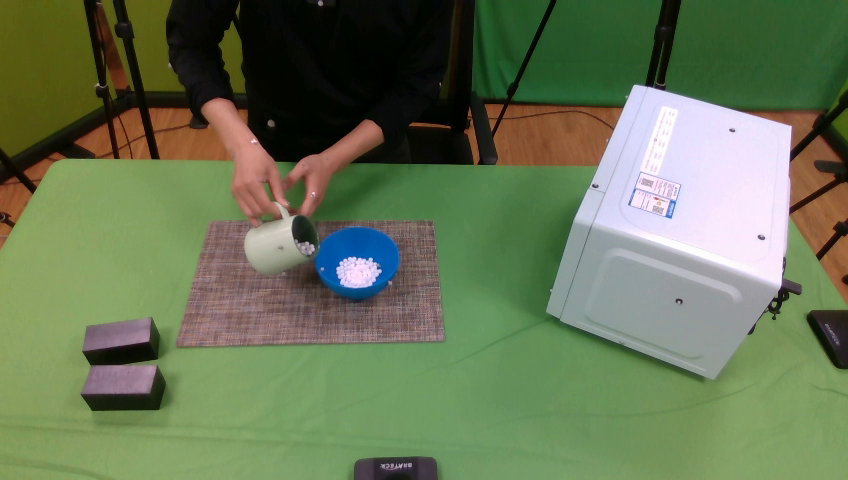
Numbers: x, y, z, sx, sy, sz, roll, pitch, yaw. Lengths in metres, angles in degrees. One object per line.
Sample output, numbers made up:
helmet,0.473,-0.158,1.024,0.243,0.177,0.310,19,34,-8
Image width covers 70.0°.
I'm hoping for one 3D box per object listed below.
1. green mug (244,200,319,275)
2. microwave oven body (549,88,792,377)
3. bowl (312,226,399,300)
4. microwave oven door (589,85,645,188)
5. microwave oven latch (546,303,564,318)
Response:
green mug,-0.255,-0.008,1.048,0.105,0.125,0.092,-17,13,24
microwave oven body,0.456,-0.028,1.088,0.325,0.261,0.440,20,47,16
bowl,-0.120,0.055,1.091,0.151,0.077,0.150,2,46,-2
microwave oven door,0.342,-0.107,1.148,0.039,0.245,0.354,20,48,15
microwave oven latch,0.242,0.102,1.081,0.030,0.029,0.079,21,48,17
